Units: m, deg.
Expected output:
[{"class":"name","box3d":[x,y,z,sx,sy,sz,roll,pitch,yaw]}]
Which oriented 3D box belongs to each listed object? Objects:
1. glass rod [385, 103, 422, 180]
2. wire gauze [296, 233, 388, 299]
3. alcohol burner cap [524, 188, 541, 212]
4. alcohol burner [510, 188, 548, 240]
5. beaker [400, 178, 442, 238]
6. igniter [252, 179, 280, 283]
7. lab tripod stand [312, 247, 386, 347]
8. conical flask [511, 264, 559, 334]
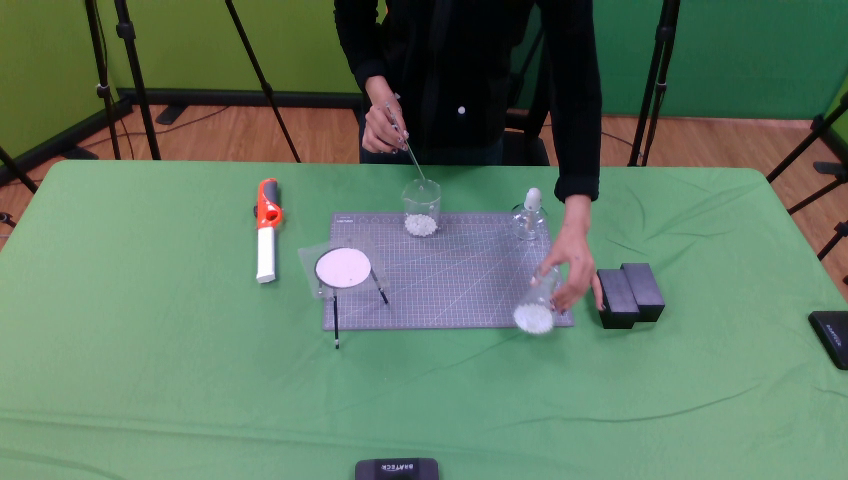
[{"class":"glass rod","box3d":[-0.036,-0.182,1.143,0.008,0.201,0.008,-11,51,14]},{"class":"wire gauze","box3d":[-0.133,0.041,0.977,0.125,0.011,0.120,-12,47,-16]},{"class":"alcohol burner cap","box3d":[0.212,-0.081,1.177,0.034,0.048,0.033,-2,54,3]},{"class":"alcohol burner","box3d":[0.211,-0.057,1.204,0.078,0.120,0.077,1,47,-1]},{"class":"beaker","box3d":[-0.009,-0.059,1.200,0.084,0.101,0.073,-14,48,-17]},{"class":"igniter","box3d":[-0.312,-0.027,1.197,0.057,0.025,0.274,-12,47,-2]},{"class":"lab tripod stand","box3d":[-0.134,0.085,1.028,0.148,0.132,0.147,2,45,-1]},{"class":"conical flask","box3d":[0.192,0.094,1.009,0.075,0.122,0.075,4,43,-3]}]
